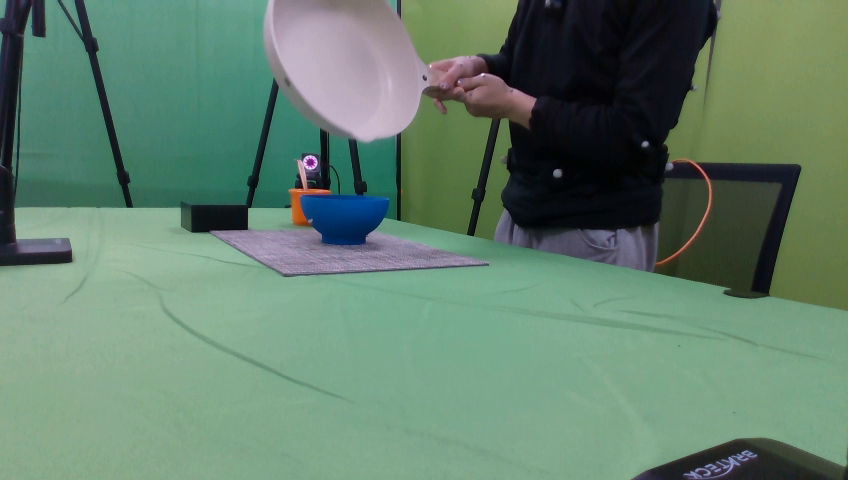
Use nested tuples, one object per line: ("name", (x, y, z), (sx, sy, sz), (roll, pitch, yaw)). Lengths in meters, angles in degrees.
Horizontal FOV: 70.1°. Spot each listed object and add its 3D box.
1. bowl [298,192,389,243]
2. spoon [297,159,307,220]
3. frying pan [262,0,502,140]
("bowl", (-0.136, -0.037, 1.018), (0.151, 0.077, 0.151), (2, 7, 0))
("spoon", (-0.264, -0.114, 1.338), (0.042, 0.193, 0.021), (0, -37, -21))
("frying pan", (-0.048, -0.290, 1.032), (0.491, 0.306, 0.102), (2, -16, -36))
